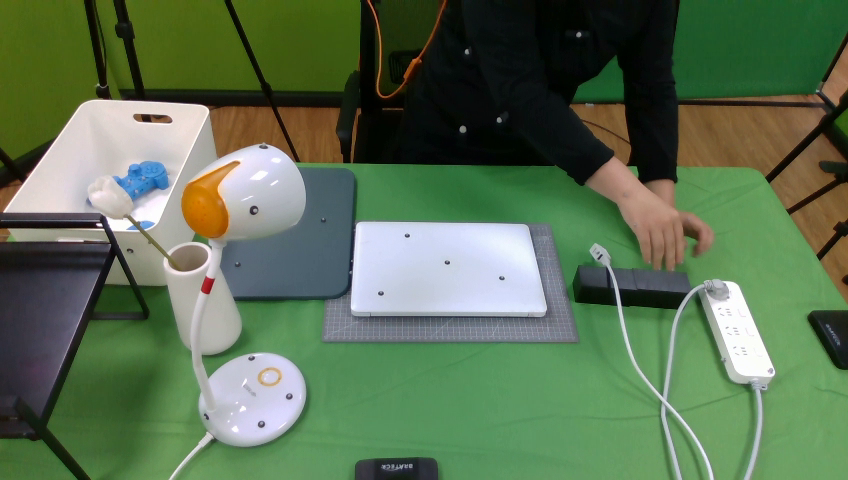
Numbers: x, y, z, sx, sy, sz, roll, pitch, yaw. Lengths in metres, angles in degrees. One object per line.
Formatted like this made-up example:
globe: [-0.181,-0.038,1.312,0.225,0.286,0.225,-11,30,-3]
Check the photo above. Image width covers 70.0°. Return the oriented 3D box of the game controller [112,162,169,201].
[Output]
game controller: [-0.597,-0.113,1.234,0.097,0.052,0.155,29,51,20]

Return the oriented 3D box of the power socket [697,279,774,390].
power socket: [0.550,0.158,1.079,0.072,0.033,0.225,3,47,-1]

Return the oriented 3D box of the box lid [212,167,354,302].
box lid: [-0.276,-0.024,1.205,0.263,0.015,0.369,0,46,-4]

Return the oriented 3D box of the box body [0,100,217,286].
box body: [-0.559,-0.092,1.145,0.254,0.161,0.361,3,46,-2]

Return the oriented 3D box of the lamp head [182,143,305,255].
lamp head: [-0.216,-0.044,0.697,0.112,0.113,0.123,23,31,17]

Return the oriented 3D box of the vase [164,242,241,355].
vase: [-0.349,0.096,0.954,0.098,0.201,0.097,3,47,-3]

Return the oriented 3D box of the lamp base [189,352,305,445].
lamp base: [-0.268,0.196,0.876,0.160,0.181,0.179,26,52,20]

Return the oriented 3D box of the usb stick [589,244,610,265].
usb stick: [0.338,0.025,1.173,0.027,0.021,0.059,29,19,-9]

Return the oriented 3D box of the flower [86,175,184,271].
flower: [-0.365,0.038,0.894,0.038,0.364,0.044,-4,53,15]

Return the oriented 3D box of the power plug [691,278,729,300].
power plug: [0.523,0.090,1.117,0.072,0.053,0.035,10,47,8]

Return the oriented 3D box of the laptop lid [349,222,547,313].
laptop lid: [0.041,0.046,1.143,0.357,0.013,0.240,2,44,-3]

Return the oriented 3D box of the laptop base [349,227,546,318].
laptop base: [0.040,0.056,1.149,0.355,0.023,0.234,1,43,-4]

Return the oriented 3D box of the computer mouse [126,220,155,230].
computer mouse: [-0.537,0.008,1.127,0.062,0.041,0.117,32,56,20]
